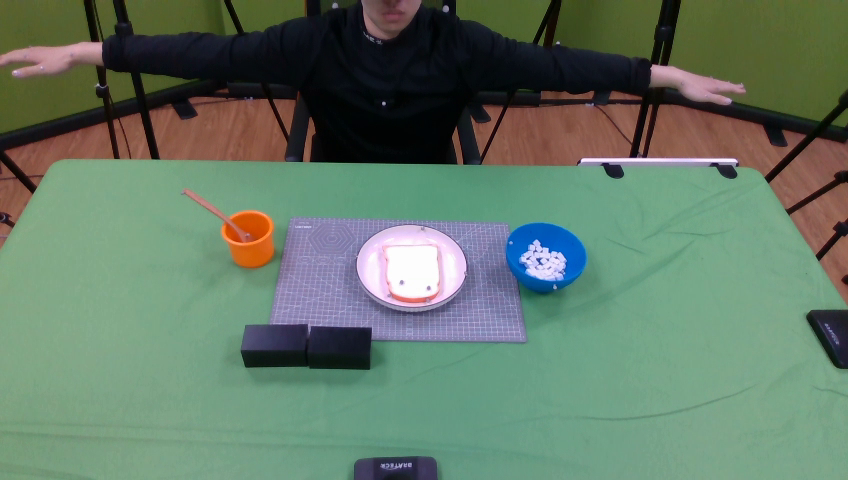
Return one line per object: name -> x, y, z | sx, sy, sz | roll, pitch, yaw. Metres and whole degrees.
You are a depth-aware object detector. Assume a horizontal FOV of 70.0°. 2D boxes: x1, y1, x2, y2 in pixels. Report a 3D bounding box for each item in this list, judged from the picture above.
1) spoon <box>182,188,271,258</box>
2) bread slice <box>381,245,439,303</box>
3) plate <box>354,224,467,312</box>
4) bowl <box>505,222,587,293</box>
spoon -> -0.361, -0.032, 1.113 | 0.021, 0.194, 0.041 | -26, 30, 35
bread slice -> -0.022, 0.061, 1.126 | 0.107, 0.018, 0.133 | -3, 45, -8
plate -> -0.025, 0.055, 1.128 | 0.209, 0.038, 0.208 | 3, 46, -2
bowl -> 0.221, 0.045, 1.132 | 0.151, 0.077, 0.150 | 2, 46, -2
